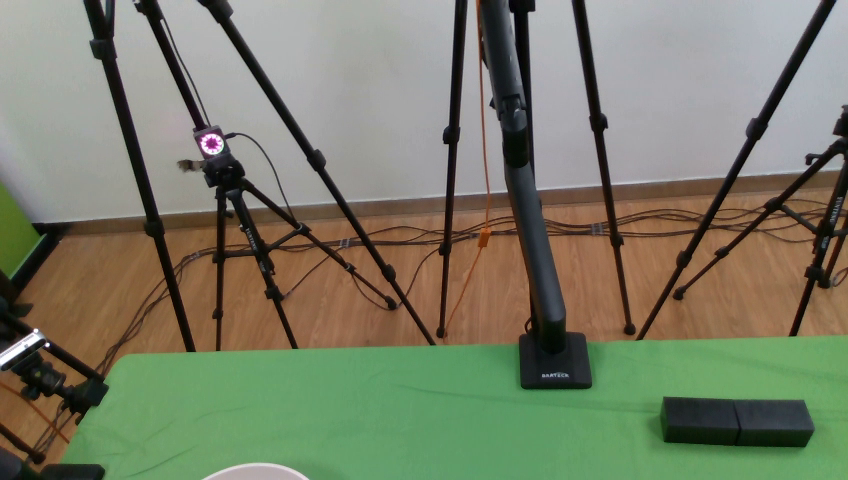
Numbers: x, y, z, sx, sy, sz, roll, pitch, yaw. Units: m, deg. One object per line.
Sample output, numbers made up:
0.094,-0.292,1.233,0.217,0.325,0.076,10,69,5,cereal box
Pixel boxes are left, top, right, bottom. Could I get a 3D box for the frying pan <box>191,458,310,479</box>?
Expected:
-0.275,0.513,0.764,0.306,0.103,0.483,-4,33,9,frying pan
